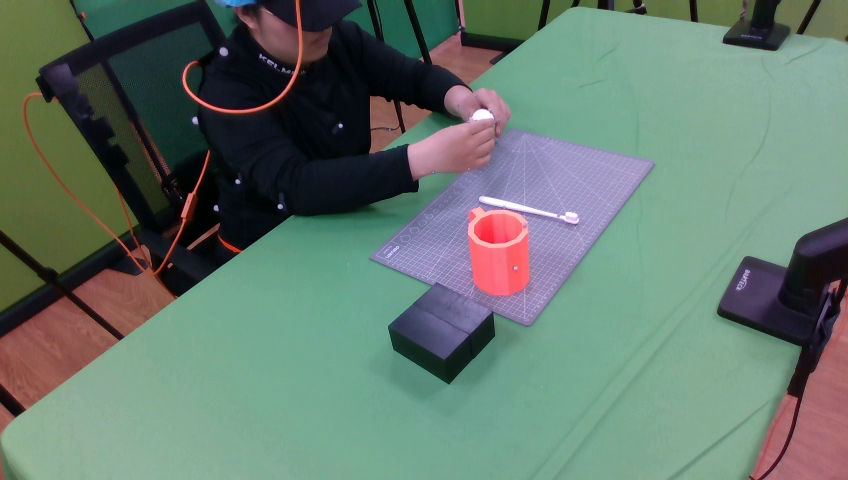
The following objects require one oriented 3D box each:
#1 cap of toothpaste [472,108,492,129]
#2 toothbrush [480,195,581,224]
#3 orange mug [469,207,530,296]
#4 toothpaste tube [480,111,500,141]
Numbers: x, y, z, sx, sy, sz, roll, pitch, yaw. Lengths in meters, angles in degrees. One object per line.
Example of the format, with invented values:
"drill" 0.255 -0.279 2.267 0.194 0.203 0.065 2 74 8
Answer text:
"cap of toothpaste" 0.101 -0.210 1.043 0.037 0.037 0.011 3 3 14
"toothbrush" 0.175 -0.054 1.016 0.180 0.017 0.014 15 59 29
"orange mug" 0.104 0.008 0.894 0.084 0.101 0.125 -22 46 -14
"toothpaste tube" 0.123 -0.218 1.119 0.034 0.055 0.165 -1 3 16
